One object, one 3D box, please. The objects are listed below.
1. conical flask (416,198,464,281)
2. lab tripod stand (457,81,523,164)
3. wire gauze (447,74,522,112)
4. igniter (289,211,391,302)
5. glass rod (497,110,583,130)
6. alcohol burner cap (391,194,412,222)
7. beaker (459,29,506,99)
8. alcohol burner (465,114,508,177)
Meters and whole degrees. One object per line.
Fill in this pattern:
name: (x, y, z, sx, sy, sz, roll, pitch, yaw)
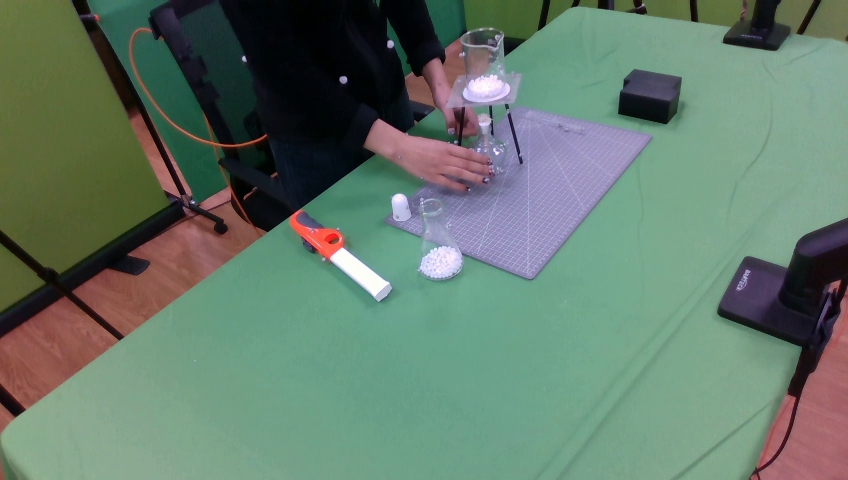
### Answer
conical flask: (0.019, -0.004, 0.907, 0.075, 0.122, 0.075, -5, 40, 5)
lab tripod stand: (0.120, -0.219, 1.130, 0.148, 0.132, 0.147, -7, 39, 6)
wire gauze: (0.110, -0.268, 1.087, 0.121, 0.011, 0.125, 1, 43, 15)
igniter: (-0.146, 0.019, 0.986, 0.057, 0.025, 0.274, -40, 48, -18)
glass rod: (0.233, -0.245, 1.235, 0.198, 0.008, 0.008, 20, 49, 35)
alcohol burner cap: (-0.041, -0.057, 1.040, 0.034, 0.048, 0.033, -6, 40, 5)
beaker: (0.107, -0.305, 1.056, 0.074, 0.101, 0.083, -27, 43, -18)
alcohol burner: (0.112, -0.174, 1.093, 0.078, 0.119, 0.077, -4, 39, 4)
